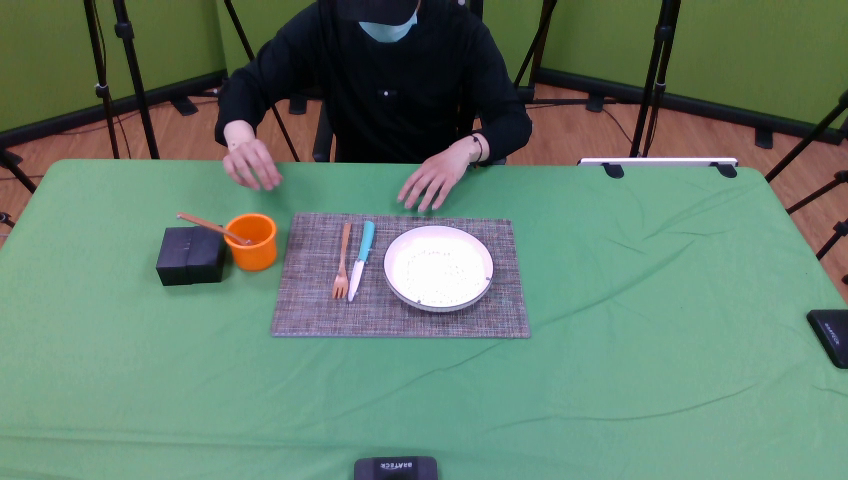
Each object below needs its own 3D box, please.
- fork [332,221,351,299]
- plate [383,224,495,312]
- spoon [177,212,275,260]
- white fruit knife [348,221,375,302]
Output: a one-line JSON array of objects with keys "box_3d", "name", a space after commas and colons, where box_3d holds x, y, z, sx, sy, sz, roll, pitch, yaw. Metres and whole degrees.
[{"box_3d": [-0.153, 0.034, 1.149, 0.028, 0.019, 0.206, -6, 47, 6], "name": "fork"}, {"box_3d": [0.026, 0.055, 1.128, 0.209, 0.038, 0.208, 2, 46, -2], "name": "plate"}, {"box_3d": [-0.353, -0.009, 1.092, 0.021, 0.195, 0.041, -36, 44, 24], "name": "spoon"}, {"box_3d": [-0.119, 0.037, 1.153, 0.027, 0.016, 0.206, -16, 42, 25], "name": "white fruit knife"}]
